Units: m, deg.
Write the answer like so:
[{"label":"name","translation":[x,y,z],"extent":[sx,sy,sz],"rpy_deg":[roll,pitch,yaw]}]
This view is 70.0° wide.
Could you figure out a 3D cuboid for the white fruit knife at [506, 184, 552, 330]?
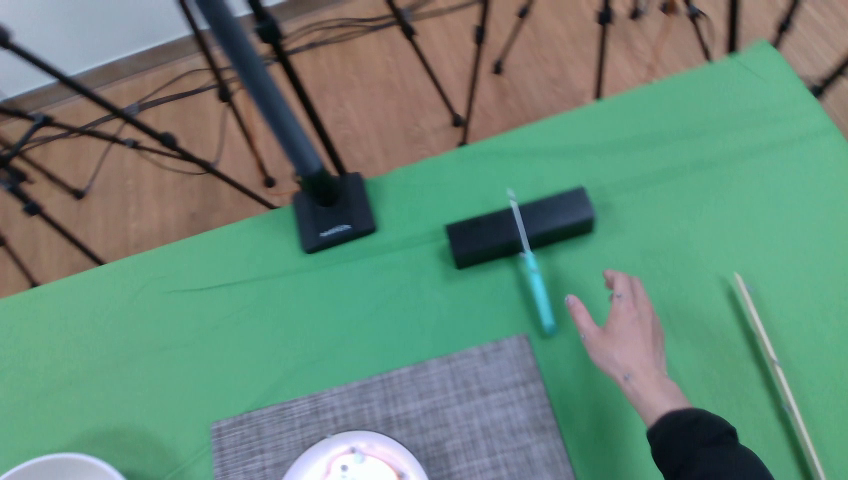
[{"label":"white fruit knife","translation":[0.138,0.020,0.818],"extent":[0.016,0.027,0.206],"rpy_deg":[-15,77,2]}]

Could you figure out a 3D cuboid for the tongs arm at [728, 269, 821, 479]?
[{"label":"tongs arm","translation":[0.406,0.214,0.696],"extent":[0.051,0.027,0.381],"rpy_deg":[-14,64,5]}]

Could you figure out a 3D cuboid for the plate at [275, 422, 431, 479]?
[{"label":"plate","translation":[-0.085,0.328,0.730],"extent":[0.207,0.039,0.206],"rpy_deg":[-4,64,9]}]

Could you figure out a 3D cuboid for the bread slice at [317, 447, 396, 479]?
[{"label":"bread slice","translation":[-0.090,0.323,0.735],"extent":[0.106,0.018,0.133],"rpy_deg":[5,67,13]}]

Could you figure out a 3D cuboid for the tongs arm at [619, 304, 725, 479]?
[{"label":"tongs arm","translation":[0.332,0.239,0.702],"extent":[0.028,0.028,0.383],"rpy_deg":[-23,63,-4]}]

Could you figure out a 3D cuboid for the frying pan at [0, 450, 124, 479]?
[{"label":"frying pan","translation":[-0.439,0.493,0.684],"extent":[0.307,0.104,0.482],"rpy_deg":[-20,54,2]}]
